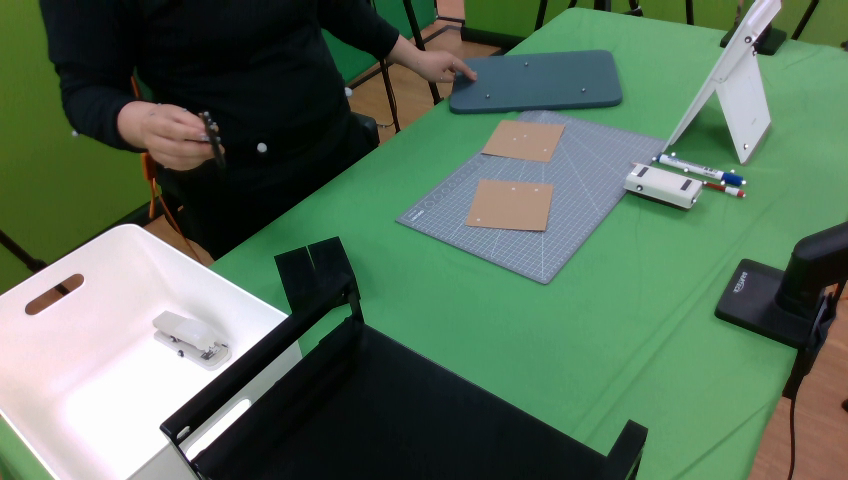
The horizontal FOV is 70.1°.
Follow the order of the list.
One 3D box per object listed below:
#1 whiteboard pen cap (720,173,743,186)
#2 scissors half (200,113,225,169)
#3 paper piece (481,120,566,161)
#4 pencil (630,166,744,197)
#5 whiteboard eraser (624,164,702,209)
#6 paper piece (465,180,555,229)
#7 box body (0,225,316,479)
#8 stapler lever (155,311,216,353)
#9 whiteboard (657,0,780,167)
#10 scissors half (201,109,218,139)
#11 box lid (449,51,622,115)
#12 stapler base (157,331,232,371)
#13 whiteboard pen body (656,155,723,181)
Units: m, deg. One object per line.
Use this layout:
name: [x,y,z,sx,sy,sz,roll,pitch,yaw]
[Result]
whiteboard pen cap: [0.519,-0.103,1.020,0.033,0.018,0.018,23,49,30]
scissors half: [-0.248,-0.117,0.707,0.013,0.175,0.040,-19,86,-14]
paper piece: [0.197,-0.199,1.188,0.135,0.004,0.135,10,44,22]
pencil: [0.447,-0.103,1.039,0.192,0.012,0.012,21,48,30]
whiteboard eraser: [0.396,-0.087,1.003,0.112,0.042,0.056,22,48,31]
paper piece: [0.149,-0.062,1.035,0.137,0.009,0.136,5,37,17]
box body: [-0.339,0.162,0.728,0.361,0.161,0.255,23,48,31]
stapler lever: [-0.331,0.122,0.834,0.117,0.040,0.027,18,44,32]
whiteboard: [0.571,-0.272,1.038,0.143,0.306,0.218,37,54,17]
scissors half: [-0.253,-0.136,0.705,0.013,0.040,0.174,-14,11,-15]
box lid: [0.249,-0.358,1.371,0.371,0.015,0.262,-1,40,9]
stapler base: [-0.326,0.142,0.849,0.129,0.024,0.041,18,44,32]
whiteboard pen body: [0.475,-0.123,1.052,0.139,0.017,0.017,24,50,32]
